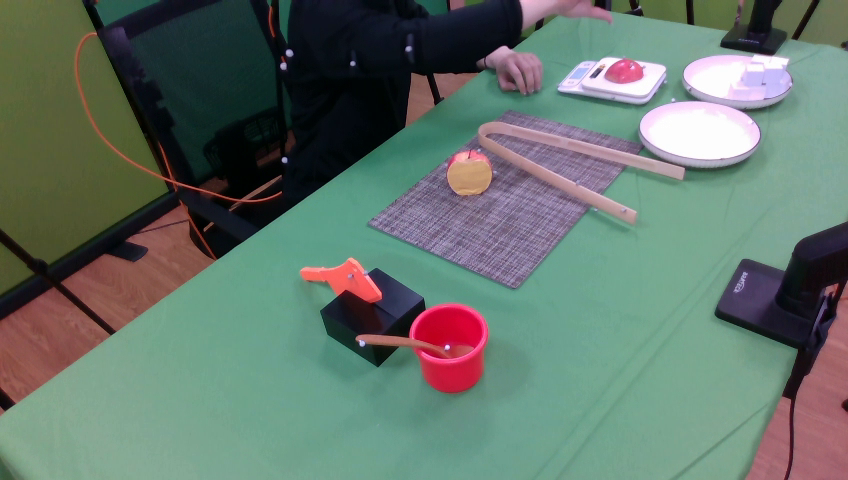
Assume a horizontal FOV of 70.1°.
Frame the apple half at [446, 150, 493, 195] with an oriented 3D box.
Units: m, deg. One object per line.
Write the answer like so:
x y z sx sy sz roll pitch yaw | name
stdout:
0.080 -0.123 1.065 0.081 0.075 0.053 -7 36 7 | apple half

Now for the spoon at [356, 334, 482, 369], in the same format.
-0.001 0.130 0.731 0.195 0.021 0.041 22 28 -39 | spoon

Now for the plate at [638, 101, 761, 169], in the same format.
0.500 -0.189 1.111 0.209 0.038 0.208 -4 41 4 | plate

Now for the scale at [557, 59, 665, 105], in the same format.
0.407 -0.348 1.314 0.199 0.032 0.149 19 47 28 | scale

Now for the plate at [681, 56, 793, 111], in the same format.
0.636 -0.317 1.239 0.207 0.039 0.206 -4 40 4 | plate

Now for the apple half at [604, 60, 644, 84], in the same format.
0.424 -0.362 1.282 0.081 0.033 0.081 -3 40 3 | apple half

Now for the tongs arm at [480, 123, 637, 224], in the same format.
0.228 -0.128 1.080 0.051 0.026 0.381 -33 46 -26 | tongs arm

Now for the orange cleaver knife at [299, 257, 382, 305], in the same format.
-0.124 0.062 0.872 0.012 0.077 0.210 -38 17 -30 | orange cleaver knife

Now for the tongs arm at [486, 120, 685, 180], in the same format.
0.288 -0.171 1.123 0.384 0.028 0.028 21 52 29 | tongs arm
